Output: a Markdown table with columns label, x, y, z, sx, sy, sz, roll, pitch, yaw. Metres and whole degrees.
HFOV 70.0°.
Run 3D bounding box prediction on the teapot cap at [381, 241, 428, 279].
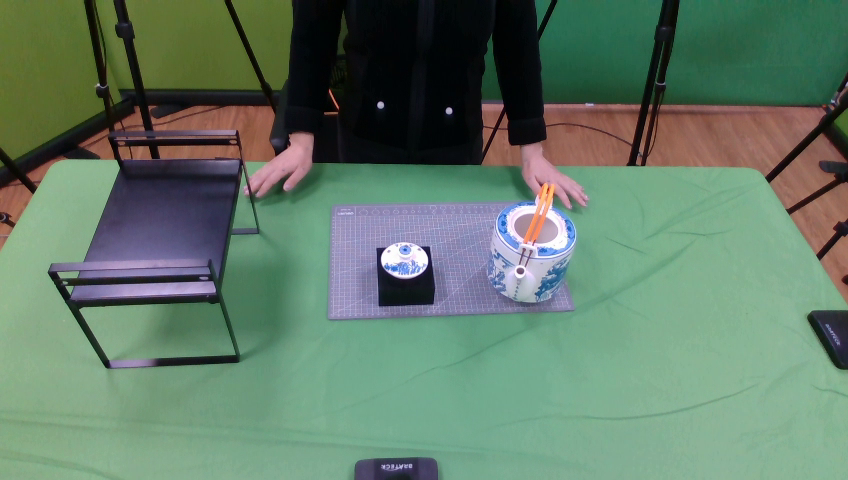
| label | x | y | z | sx | sy | sz | roll | pitch | yaw |
| --- | --- | --- | --- | --- | --- | --- | --- | --- | --- |
| teapot cap | -0.034 | 0.031 | 1.075 | 0.085 | 0.044 | 0.084 | 2 | 49 | -2 |

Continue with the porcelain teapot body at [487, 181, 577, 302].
| label | x | y | z | sx | sy | sz | roll | pitch | yaw |
| --- | --- | --- | --- | --- | --- | --- | --- | --- | --- |
| porcelain teapot body | 0.185 | 0.018 | 1.048 | 0.145 | 0.226 | 0.204 | 15 | 48 | 10 |
